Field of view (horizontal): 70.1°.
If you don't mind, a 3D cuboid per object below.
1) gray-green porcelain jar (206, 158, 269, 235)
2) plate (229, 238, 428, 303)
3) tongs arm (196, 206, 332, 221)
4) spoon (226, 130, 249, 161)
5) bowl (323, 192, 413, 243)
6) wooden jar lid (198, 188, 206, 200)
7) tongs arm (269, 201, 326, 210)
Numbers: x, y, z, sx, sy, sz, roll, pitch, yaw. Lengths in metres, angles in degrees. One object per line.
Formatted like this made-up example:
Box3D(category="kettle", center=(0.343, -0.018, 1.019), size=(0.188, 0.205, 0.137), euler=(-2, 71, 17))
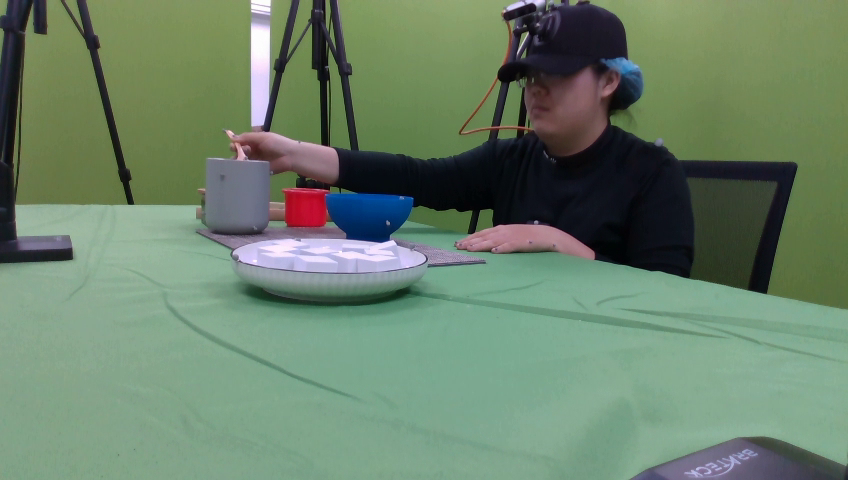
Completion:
Box3D(category="gray-green porcelain jar", center=(-0.322, -0.076, 1.048), size=(0.106, 0.126, 0.106), euler=(3, 7, 0))
Box3D(category="plate", center=(-0.099, 0.032, 0.651), size=(0.209, 0.038, 0.209), euler=(3, 8, 0))
Box3D(category="tongs arm", center=(-0.294, -0.057, 1.330), size=(0.389, 0.028, 0.028), euler=(0, 5, -20))
Box3D(category="spoon", center=(-0.332, -0.161, 1.086), size=(0.042, 0.021, 0.193), euler=(2, 32, -29))
Box3D(category="bowl", center=(-0.094, -0.037, 1.015), size=(0.151, 0.077, 0.151), euler=(3, 7, 0))
Box3D(category="wooden jar lid", center=(-0.382, -0.088, 1.175), size=(0.108, 0.020, 0.108), euler=(3, 8, 0))
Box3D(category="tongs arm", center=(-0.308, -0.073, 1.410), size=(0.385, 0.026, 0.050), euler=(3, 8, -6))
